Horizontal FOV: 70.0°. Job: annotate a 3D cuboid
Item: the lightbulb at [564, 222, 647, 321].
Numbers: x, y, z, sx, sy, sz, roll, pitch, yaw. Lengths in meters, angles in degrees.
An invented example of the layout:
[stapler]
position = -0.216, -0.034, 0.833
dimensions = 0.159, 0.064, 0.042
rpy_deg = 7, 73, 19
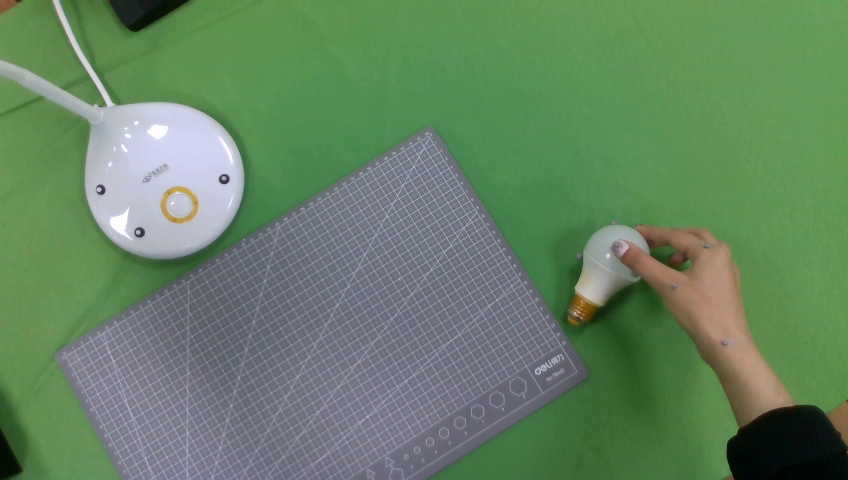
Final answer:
[lightbulb]
position = 0.170, 0.032, 0.585
dimensions = 0.059, 0.059, 0.108
rpy_deg = 31, 105, 4

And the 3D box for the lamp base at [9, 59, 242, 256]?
[lamp base]
position = -0.277, -0.080, 0.543
dimensions = 0.160, 0.181, 0.178
rpy_deg = -45, 82, -3
